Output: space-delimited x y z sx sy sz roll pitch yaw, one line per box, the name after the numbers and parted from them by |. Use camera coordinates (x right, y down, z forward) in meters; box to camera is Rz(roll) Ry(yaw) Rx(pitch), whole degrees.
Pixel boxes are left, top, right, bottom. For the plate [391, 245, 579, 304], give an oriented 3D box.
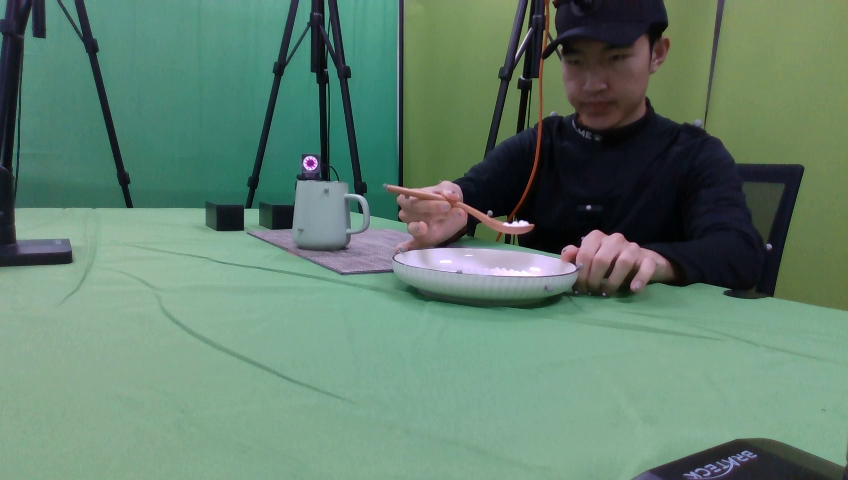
0.066 0.038 0.683 0.209 0.038 0.209 2 7 0 | plate

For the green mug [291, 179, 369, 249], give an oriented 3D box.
-0.144 -0.040 0.944 0.125 0.105 0.093 4 7 16 | green mug

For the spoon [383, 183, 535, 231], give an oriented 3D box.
0.040 -0.043 0.738 0.193 0.021 0.042 20 12 13 | spoon
